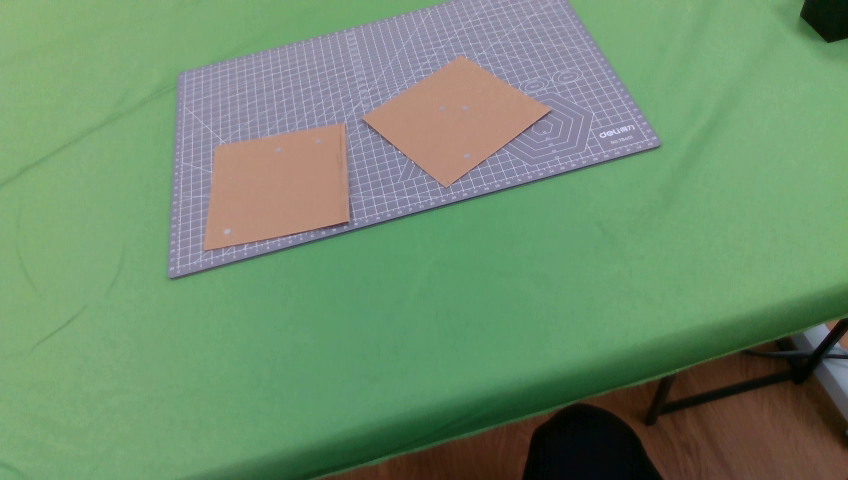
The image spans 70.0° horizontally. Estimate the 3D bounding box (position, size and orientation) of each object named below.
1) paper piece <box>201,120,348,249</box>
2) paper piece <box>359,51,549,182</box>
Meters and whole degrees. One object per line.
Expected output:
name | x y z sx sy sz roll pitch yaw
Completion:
paper piece | -0.141 -0.058 0.576 0.138 0.009 0.134 -11 50 3
paper piece | 0.027 -0.128 0.594 0.135 0.004 0.134 -37 57 -16
